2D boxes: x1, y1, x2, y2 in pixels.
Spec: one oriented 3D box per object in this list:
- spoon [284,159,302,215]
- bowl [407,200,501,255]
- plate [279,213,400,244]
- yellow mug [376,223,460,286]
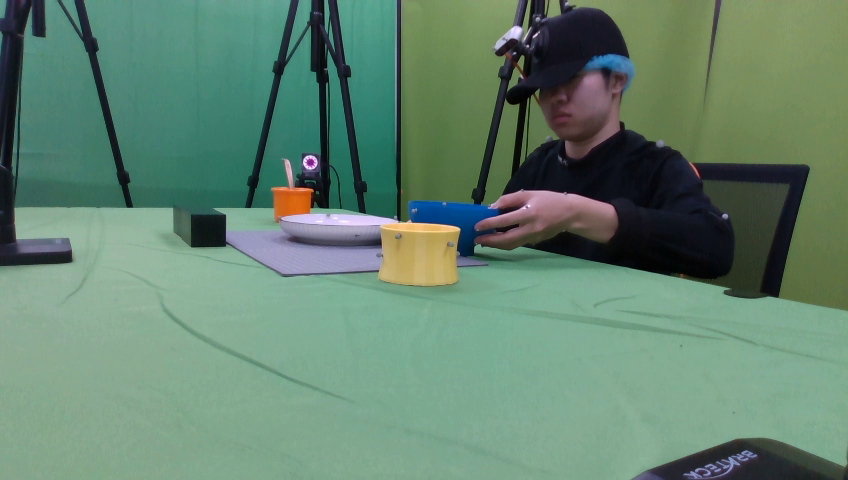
[{"bbox_3d":[-0.302,-0.118,1.370,0.042,0.193,0.021,4,-39,-24],"label":"spoon"},{"bbox_3d":[0.044,-0.019,0.965,0.151,0.077,0.151,4,6,0],"label":"bowl"},{"bbox_3d":[-0.147,-0.020,1.060,0.209,0.038,0.209,3,7,0],"label":"plate"},{"bbox_3d":[-0.002,0.014,0.754,0.099,0.064,0.131,5,7,20],"label":"yellow mug"}]
